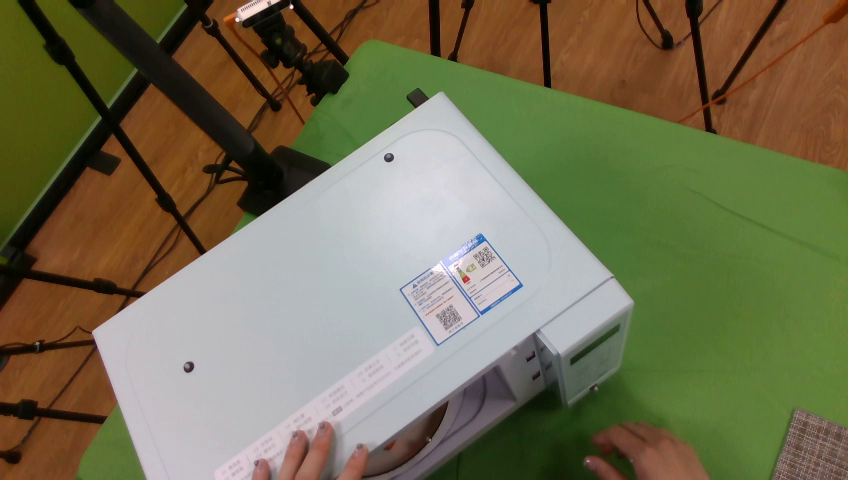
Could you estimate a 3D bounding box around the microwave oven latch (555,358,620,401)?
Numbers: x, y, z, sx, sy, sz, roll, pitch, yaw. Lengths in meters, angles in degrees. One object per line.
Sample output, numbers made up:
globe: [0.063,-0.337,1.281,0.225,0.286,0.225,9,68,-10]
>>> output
microwave oven latch: [0.188,0.151,0.697,0.079,0.030,0.030,-34,62,-2]

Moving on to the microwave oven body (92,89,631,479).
microwave oven body: [-0.058,0.110,0.669,0.441,0.262,0.323,-36,62,-3]
